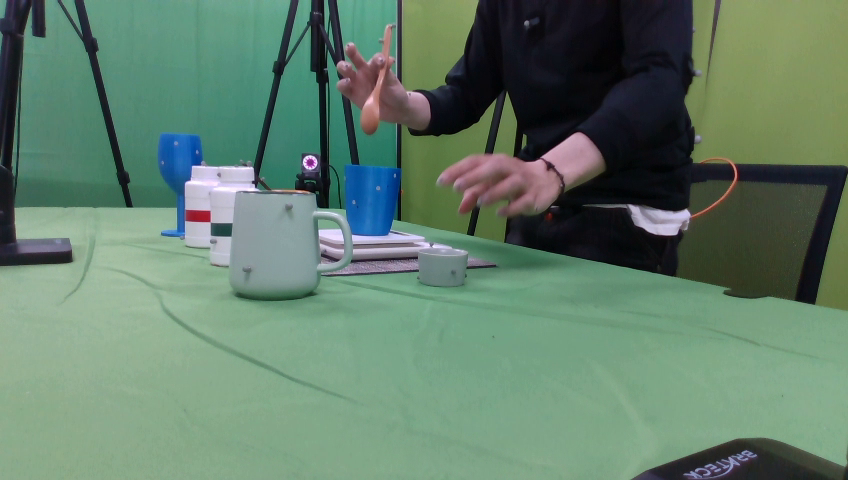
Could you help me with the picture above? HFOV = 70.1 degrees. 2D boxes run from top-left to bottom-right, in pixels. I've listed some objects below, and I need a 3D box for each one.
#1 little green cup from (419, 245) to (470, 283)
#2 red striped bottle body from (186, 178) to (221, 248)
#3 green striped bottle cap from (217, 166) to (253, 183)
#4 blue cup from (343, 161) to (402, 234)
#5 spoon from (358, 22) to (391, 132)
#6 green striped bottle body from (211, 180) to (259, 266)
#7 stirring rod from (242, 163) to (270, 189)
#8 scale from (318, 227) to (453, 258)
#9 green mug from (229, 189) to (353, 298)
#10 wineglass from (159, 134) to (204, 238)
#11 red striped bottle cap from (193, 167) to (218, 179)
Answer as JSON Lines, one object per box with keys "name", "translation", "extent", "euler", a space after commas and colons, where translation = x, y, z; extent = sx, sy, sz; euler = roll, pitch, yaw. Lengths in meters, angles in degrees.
{"name": "little green cup", "translation": [0.023, 0.028, 0.712], "extent": [0.061, 0.038, 0.061], "euler": [1, 6, 0]}
{"name": "red striped bottle body", "translation": [-0.331, -0.049, 0.927], "extent": [0.063, 0.119, 0.063], "euler": [2, 6, 0]}
{"name": "green striped bottle cap", "translation": [-0.242, -0.085, 0.777], "extent": [0.044, 0.020, 0.044], "euler": [2, 9, 0]}
{"name": "blue cup", "translation": [-0.077, -0.062, 0.883], "extent": [0.093, 0.100, 0.092], "euler": [3, 6, 0]}
{"name": "spoon", "translation": [-0.071, -0.253, 0.930], "extent": [0.041, 0.193, 0.022], "euler": [-11, -30, 44]}
{"name": "green striped bottle body", "translation": [-0.243, -0.029, 0.784], "extent": [0.063, 0.119, 0.063], "euler": [2, 7, 0]}
{"name": "stirring rod", "translation": [-0.298, -0.091, 1.198], "extent": [0.014, 0.006, 0.177], "euler": [10, -31, 45]}
{"name": "scale", "translation": [-0.066, 0.001, 0.906], "extent": [0.202, 0.031, 0.148], "euler": [-2, 8, -31]}
{"name": "green mug", "translation": [-0.135, 0.002, 0.618], "extent": [0.125, 0.105, 0.092], "euler": [2, 7, 4]}
{"name": "wineglass", "translation": [-0.415, -0.093, 1.039], "extent": [0.074, 0.172, 0.073], "euler": [2, 7, 0]}
{"name": "red striped bottle cap", "translation": [-0.329, -0.103, 0.921], "extent": [0.044, 0.017, 0.044], "euler": [-1, 9, 0]}
